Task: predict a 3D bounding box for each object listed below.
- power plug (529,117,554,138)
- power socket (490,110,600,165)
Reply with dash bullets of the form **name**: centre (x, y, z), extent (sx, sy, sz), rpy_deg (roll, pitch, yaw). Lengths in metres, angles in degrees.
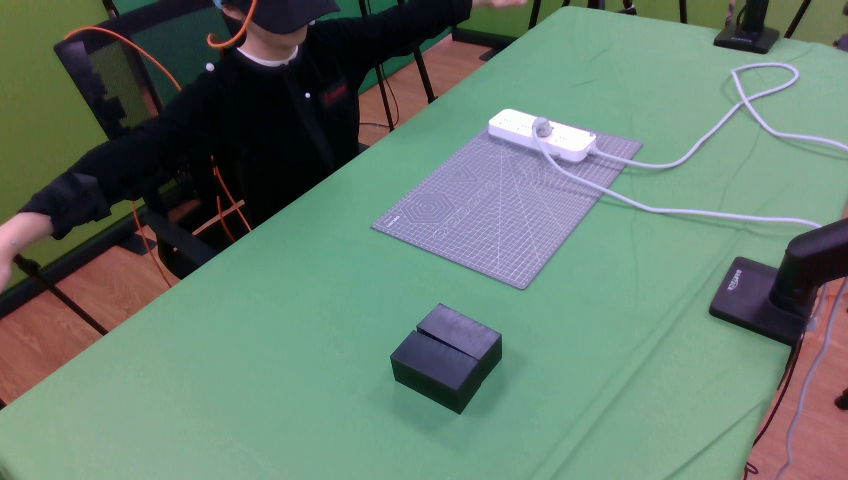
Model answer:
- **power plug**: centre (0.212, -0.201, 1.131), extent (0.073, 0.053, 0.035), rpy_deg (-29, 44, -26)
- **power socket**: centre (0.226, -0.201, 1.167), extent (0.225, 0.033, 0.072), rpy_deg (26, 53, 33)
